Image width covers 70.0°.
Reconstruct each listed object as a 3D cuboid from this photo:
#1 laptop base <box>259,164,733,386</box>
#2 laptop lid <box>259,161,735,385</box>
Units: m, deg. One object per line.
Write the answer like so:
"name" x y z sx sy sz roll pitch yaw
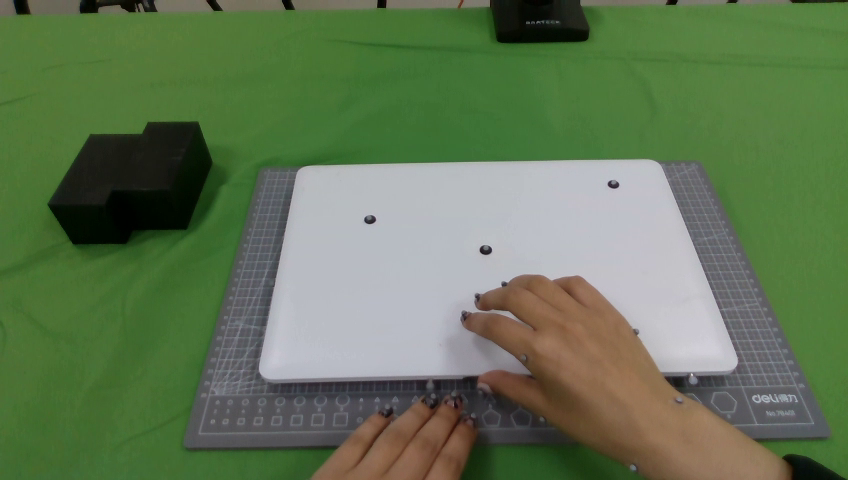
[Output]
"laptop base" 0.053 0.020 0.523 0.354 0.023 0.233 -1 50 0
"laptop lid" 0.053 0.014 0.513 0.357 0.013 0.239 0 49 1
